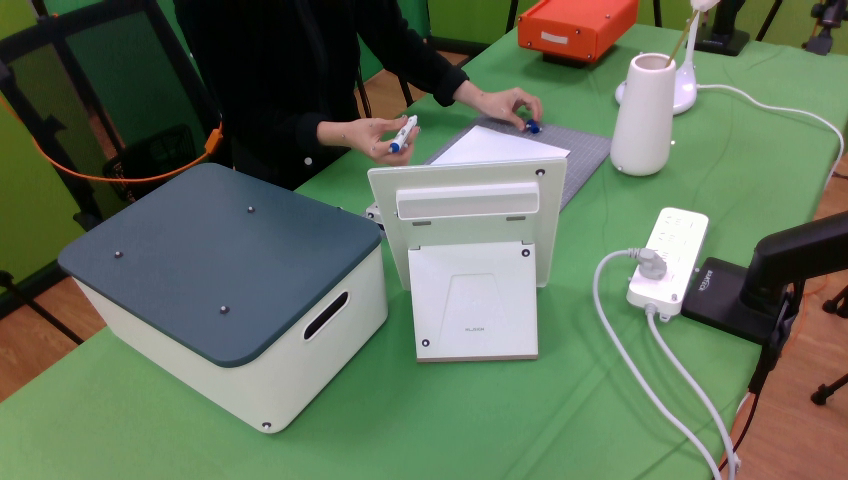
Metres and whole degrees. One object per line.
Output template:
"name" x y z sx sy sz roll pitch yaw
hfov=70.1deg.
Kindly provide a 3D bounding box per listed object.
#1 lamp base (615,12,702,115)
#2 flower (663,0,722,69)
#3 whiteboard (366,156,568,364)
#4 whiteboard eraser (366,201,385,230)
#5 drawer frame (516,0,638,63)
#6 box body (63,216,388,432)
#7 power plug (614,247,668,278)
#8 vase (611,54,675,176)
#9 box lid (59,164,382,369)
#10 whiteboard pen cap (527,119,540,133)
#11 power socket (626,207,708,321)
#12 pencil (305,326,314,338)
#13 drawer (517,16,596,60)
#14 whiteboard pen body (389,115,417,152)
"lamp base" 0.484 -0.363 1.211 0.180 0.181 0.159 -15 41 -14
"flower" 0.379 -0.261 0.965 0.044 0.362 0.038 20 52 4
"whiteboard" 0.059 0.050 0.738 0.217 0.307 0.143 -2 60 6
"whiteboard eraser" -0.038 -0.038 1.006 0.112 0.042 0.055 16 48 25
"drawer frame" 0.355 -0.508 1.411 0.200 0.083 0.214 23 51 32
"box body" -0.256 0.065 0.827 0.361 0.161 0.255 20 48 29
"power plug" 0.306 0.031 0.851 0.072 0.053 0.035 24 49 33
"vase" 0.377 -0.209 1.031 0.098 0.201 0.097 -3 40 3
"box lid" -0.263 0.010 0.777 0.368 0.015 0.264 20 47 29
"whiteboard pen cap" 0.220 -0.228 1.212 0.018 0.018 0.033 -13 38 -7
"power socket" 0.359 0.025 0.886 0.072 0.033 0.227 16 46 26
"pencil" -0.187 0.106 0.880 0.012 0.012 0.192 -27 41 -22
"drawer" 0.352 -0.506 1.405 0.193 0.073 0.212 23 49 32
"whiteboard pen body" -0.029 -0.169 0.941 0.017 0.017 0.140 4 32 13
